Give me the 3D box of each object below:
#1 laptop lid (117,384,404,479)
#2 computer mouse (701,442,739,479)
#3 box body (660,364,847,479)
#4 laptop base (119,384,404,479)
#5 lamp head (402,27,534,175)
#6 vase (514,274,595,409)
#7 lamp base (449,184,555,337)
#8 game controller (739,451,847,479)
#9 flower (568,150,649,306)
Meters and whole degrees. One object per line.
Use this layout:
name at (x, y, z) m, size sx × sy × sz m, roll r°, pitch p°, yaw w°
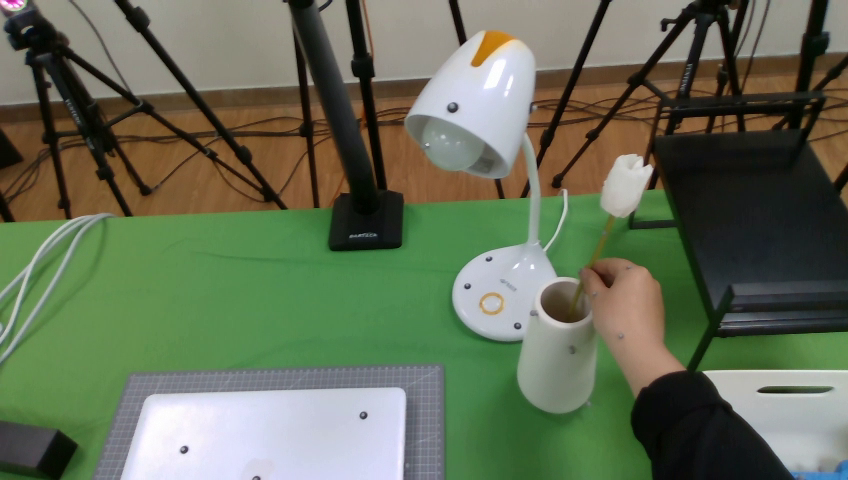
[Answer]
laptop lid at (-0.204, 0.288, 0.736) m, size 0.356 × 0.013 × 0.239 m, roll -1°, pitch 53°, yaw 5°
computer mouse at (0.324, 0.281, 0.684) m, size 0.063 × 0.041 × 0.116 m, roll -4°, pitch 41°, yaw 5°
box body at (0.392, 0.317, 0.577) m, size 0.254 × 0.162 × 0.360 m, roll -1°, pitch 51°, yaw 5°
laptop base at (-0.203, 0.293, 0.746) m, size 0.354 × 0.023 × 0.233 m, roll -2°, pitch 54°, yaw 4°
lamp head at (0.055, -0.137, 0.583) m, size 0.111 × 0.113 × 0.122 m, roll 23°, pitch 74°, yaw 23°
vase at (0.159, 0.124, 0.734) m, size 0.098 × 0.202 × 0.097 m, roll -4°, pitch 49°, yaw 5°
lamp base at (0.118, 0.016, 0.840) m, size 0.159 × 0.182 × 0.178 m, roll 26°, pitch 55°, yaw 24°
game controller at (0.432, 0.284, 0.670) m, size 0.155 × 0.052 × 0.096 m, roll 1°, pitch 49°, yaw 3°
flower at (0.168, 0.063, 0.677) m, size 0.038 × 0.364 × 0.044 m, roll 19°, pitch 36°, yaw 11°
